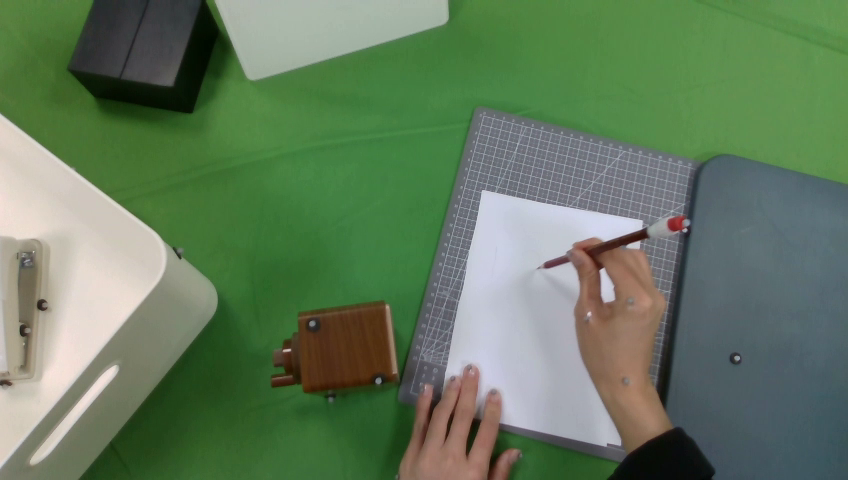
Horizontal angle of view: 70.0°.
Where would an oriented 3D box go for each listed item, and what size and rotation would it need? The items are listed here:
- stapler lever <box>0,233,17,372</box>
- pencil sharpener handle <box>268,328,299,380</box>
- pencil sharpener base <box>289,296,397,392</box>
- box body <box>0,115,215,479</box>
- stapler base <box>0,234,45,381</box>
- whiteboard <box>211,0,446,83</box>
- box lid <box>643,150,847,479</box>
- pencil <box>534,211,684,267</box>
[{"bbox_3d":[-0.357,0.051,0.502,0.027,0.040,0.117,-6,78,-2],"label":"stapler lever"},{"bbox_3d":[-0.114,0.095,0.477,0.031,0.068,0.035,-7,59,-3],"label":"pencil sharpener handle"},{"bbox_3d":[-0.064,0.088,0.494,0.077,0.107,0.061,-7,75,-4],"label":"pencil sharpener base"},{"bbox_3d":[-0.383,0.023,0.469,0.363,0.161,0.253,35,77,7],"label":"box body"},{"bbox_3d":[-0.359,0.056,0.527,0.041,0.024,0.130,-6,77,-2],"label":"stapler base"},{"bbox_3d":[-0.113,-0.330,0.533,0.217,0.308,0.142,-18,57,-6],"label":"whiteboard"},{"bbox_3d":[0.352,0.105,0.557,0.263,0.015,0.370,14,75,0],"label":"box lid"},{"bbox_3d":[0.134,0.005,0.478,0.012,0.194,0.012,4,77,-17],"label":"pencil"}]
